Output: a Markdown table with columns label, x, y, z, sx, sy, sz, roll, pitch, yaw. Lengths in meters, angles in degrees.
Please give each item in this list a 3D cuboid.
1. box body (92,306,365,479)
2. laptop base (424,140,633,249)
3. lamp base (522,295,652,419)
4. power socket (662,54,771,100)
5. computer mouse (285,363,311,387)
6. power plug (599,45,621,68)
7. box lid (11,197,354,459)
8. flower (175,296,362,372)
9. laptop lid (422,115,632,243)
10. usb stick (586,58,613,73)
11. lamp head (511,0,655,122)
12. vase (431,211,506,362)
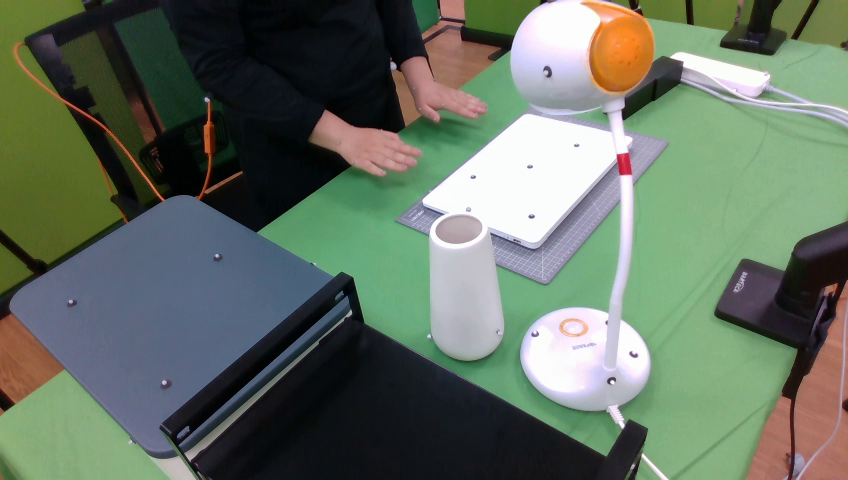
| label | x | y | z | sx | sy | sz | roll | pitch | yaw |
| --- | --- | --- | --- | --- | --- | --- | --- | --- | --- |
| box body | -0.282 | 0.128 | 0.759 | 0.361 | 0.161 | 0.255 | 24 | 49 | 32 |
| laptop base | 0.194 | -0.117 | 1.087 | 0.233 | 0.023 | 0.355 | 21 | 47 | 34 |
| lamp base | 0.201 | 0.095 | 0.710 | 0.161 | 0.181 | 0.177 | -16 | 43 | -10 |
| power socket | 0.615 | -0.348 | 1.284 | 0.072 | 0.033 | 0.225 | -36 | 48 | -29 |
| computer mouse | -0.161 | 0.158 | 0.791 | 0.116 | 0.041 | 0.063 | 26 | 45 | 23 |
| power plug | 0.437 | -0.422 | 1.413 | 0.053 | 0.035 | 0.072 | -18 | 75 | -47 |
| box lid | -0.288 | 0.072 | 0.710 | 0.368 | 0.015 | 0.264 | 25 | 50 | 32 |
| flower | -0.233 | 0.115 | 0.832 | 0.359 | 0.038 | 0.044 | 10 | 88 | 33 |
| laptop lid | 0.190 | -0.126 | 1.081 | 0.239 | 0.013 | 0.358 | 23 | 48 | 34 |
| usb stick | 0.401 | -0.399 | 1.381 | 0.059 | 0.027 | 0.021 | 0 | 47 | 21 |
| lamp head | 0.155 | -0.168 | 0.564 | 0.113 | 0.113 | 0.122 | -18 | 23 | -12 |
| vase | 0.054 | 0.062 | 0.757 | 0.098 | 0.201 | 0.097 | -3 | 40 | 3 |
